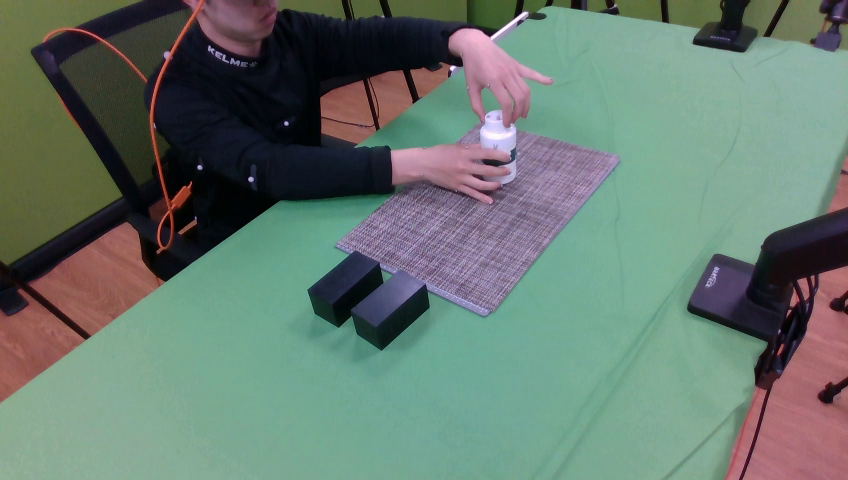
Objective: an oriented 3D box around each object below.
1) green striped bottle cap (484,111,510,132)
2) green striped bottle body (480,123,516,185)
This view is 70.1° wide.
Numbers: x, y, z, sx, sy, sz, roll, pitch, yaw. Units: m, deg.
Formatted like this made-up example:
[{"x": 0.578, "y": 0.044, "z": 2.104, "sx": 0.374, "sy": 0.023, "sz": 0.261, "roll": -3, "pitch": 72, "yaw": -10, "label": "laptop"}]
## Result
[{"x": 0.123, "y": -0.201, "z": 1.023, "sx": 0.044, "sy": 0.020, "sz": 0.044, "roll": -3, "pitch": 35, "yaw": 2, "label": "green striped bottle cap"}, {"x": 0.130, "y": -0.162, "z": 1.057, "sx": 0.063, "sy": 0.120, "sz": 0.063, "roll": -4, "pitch": 40, "yaw": 4, "label": "green striped bottle body"}]
